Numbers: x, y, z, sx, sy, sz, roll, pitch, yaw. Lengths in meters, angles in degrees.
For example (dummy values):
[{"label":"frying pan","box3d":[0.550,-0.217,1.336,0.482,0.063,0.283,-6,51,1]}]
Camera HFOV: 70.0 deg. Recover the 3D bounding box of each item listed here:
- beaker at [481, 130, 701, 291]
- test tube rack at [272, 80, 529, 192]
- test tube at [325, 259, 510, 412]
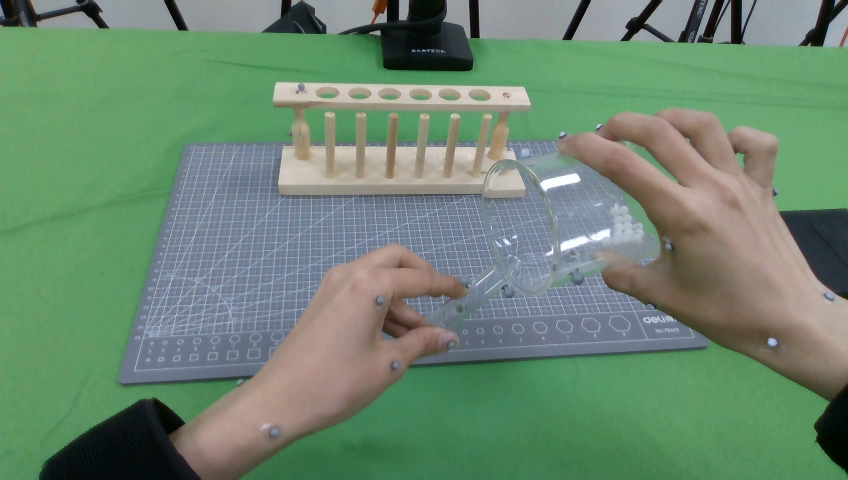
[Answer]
[{"label":"beaker","box3d":[0.092,-0.018,0.337,0.100,0.084,0.073,-14,59,-19]},{"label":"test tube rack","box3d":[-0.021,-0.102,0.595,0.243,0.086,0.066,-1,44,-7]},{"label":"test tube","box3d":[-0.008,0.062,0.374,0.017,0.150,0.017,43,19,-18]}]
